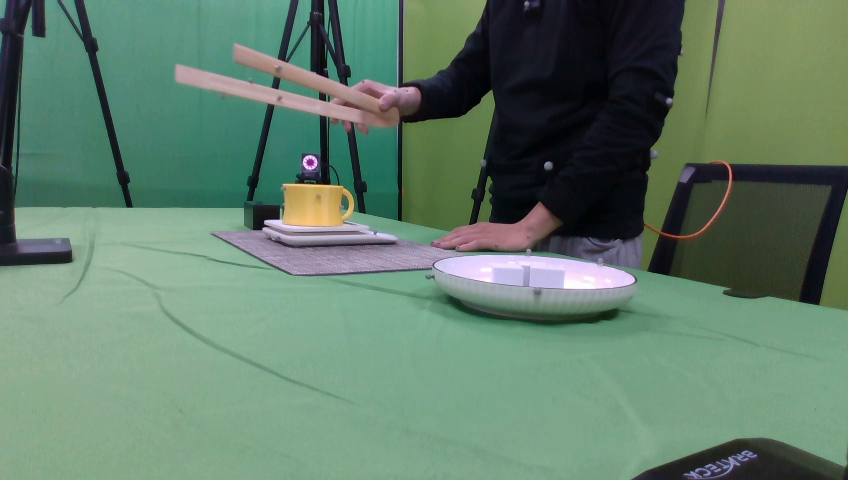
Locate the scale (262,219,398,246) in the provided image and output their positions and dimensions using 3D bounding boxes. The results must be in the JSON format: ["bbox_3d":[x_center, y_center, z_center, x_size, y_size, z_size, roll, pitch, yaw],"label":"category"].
[{"bbox_3d":[-0.160,-0.016,1.028,0.202,0.031,0.148,-2,9,-32],"label":"scale"}]

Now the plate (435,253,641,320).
[{"bbox_3d":[0.114,0.047,0.626,0.208,0.039,0.207,2,7,0],"label":"plate"}]

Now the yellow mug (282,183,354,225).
[{"bbox_3d":[-0.172,-0.061,1.009,0.131,0.064,0.099,-2,7,-41],"label":"yellow mug"}]

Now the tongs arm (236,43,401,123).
[{"bbox_3d":[-0.137,-0.229,0.920,0.028,0.027,0.389,-9,-6,30],"label":"tongs arm"}]

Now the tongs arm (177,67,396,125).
[{"bbox_3d":[-0.196,-0.225,0.966,0.050,0.026,0.387,-6,-5,41],"label":"tongs arm"}]
